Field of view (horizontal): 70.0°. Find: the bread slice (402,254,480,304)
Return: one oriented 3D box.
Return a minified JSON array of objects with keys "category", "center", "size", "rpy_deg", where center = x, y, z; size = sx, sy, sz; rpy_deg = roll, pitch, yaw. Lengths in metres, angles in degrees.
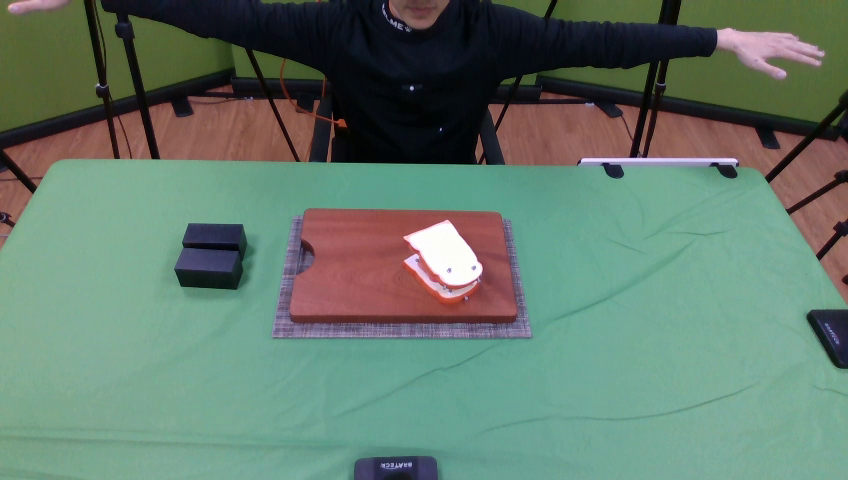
[{"category":"bread slice","center":[0.040,0.058,1.106],"size":[0.105,0.019,0.131],"rpy_deg":[-29,54,-25]}]

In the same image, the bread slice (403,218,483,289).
[{"category":"bread slice","center":[0.041,0.027,1.074],"size":[0.107,0.018,0.133],"rpy_deg":[-25,66,-35]}]
